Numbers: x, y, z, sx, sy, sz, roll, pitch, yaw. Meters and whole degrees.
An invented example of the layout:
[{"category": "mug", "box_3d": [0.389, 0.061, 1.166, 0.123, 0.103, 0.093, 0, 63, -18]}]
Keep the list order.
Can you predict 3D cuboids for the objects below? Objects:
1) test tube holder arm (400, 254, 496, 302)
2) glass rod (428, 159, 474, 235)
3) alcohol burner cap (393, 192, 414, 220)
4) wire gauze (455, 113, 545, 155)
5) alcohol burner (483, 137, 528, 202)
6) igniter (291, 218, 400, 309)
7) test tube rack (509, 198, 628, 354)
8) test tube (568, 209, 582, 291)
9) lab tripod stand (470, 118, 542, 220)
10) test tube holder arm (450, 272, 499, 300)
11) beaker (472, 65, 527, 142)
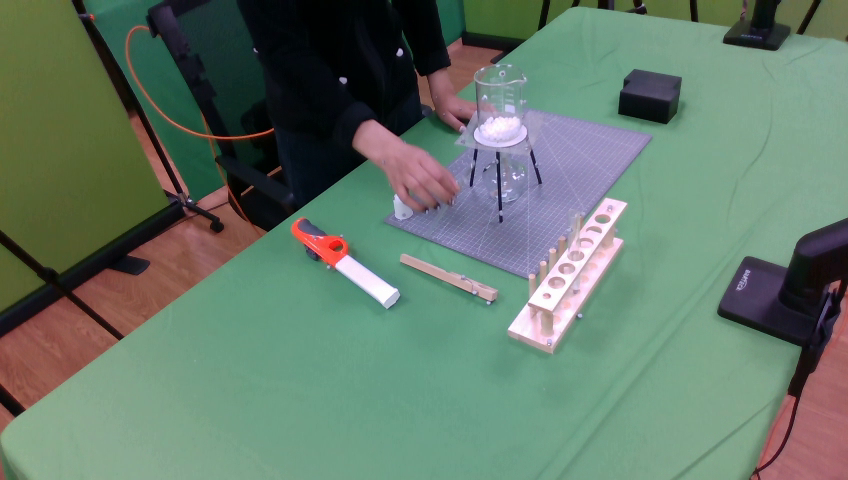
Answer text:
[{"category": "test tube holder arm", "box_3d": [0.032, 0.055, 0.914, 0.177, 0.015, 0.013, 21, 16, 33]}, {"category": "glass rod", "box_3d": [0.038, -0.059, 0.908, 0.008, 0.199, 0.008, 9, 57, -14]}, {"category": "alcohol burner cap", "box_3d": [-0.038, -0.061, 1.043, 0.034, 0.048, 0.033, -6, 41, 5]}, {"category": "wire gauze", "box_3d": [0.124, -0.175, 0.973, 0.124, 0.011, 0.121, 8, 40, 21]}, {"category": "alcohol burner", "box_3d": [0.138, -0.125, 1.030, 0.078, 0.119, 0.077, -4, 41, 4]}, {"category": "igniter", "box_3d": [-0.136, 0.031, 0.970, 0.057, 0.025, 0.274, -41, 49, -19]}, {"category": "test tube rack", "box_3d": [0.206, 0.039, 0.850, 0.066, 0.085, 0.243, 20, 48, 31]}, {"category": "test tube", "box_3d": [0.200, 0.017, 0.799, 0.017, 0.151, 0.017, -8, 45, 8]}, {"category": "lab tripod stand", "box_3d": [0.135, -0.128, 1.019, 0.148, 0.132, 0.147, -5, 38, 5]}, {"category": "test tube holder arm", "box_3d": [0.071, 0.068, 0.895, 0.087, 0.015, 0.010, 21, 16, 33]}, {"category": "beaker", "box_3d": [0.120, -0.211, 0.942, 0.083, 0.101, 0.074, 10, 42, 21]}]
